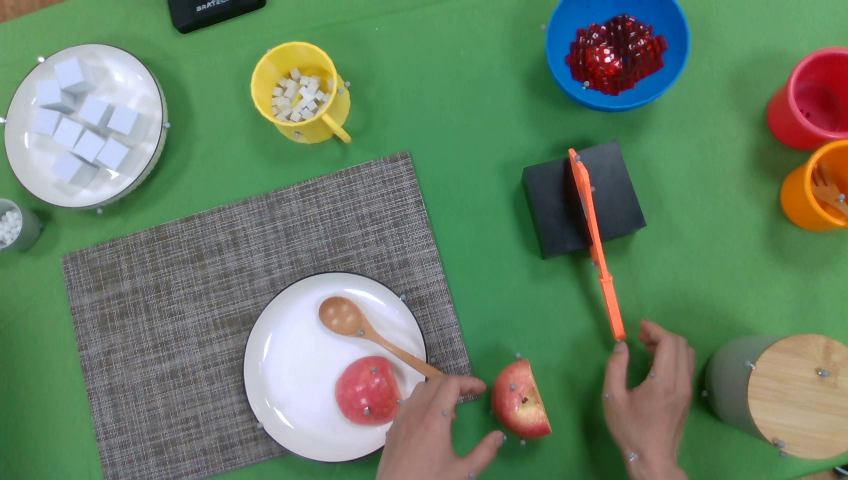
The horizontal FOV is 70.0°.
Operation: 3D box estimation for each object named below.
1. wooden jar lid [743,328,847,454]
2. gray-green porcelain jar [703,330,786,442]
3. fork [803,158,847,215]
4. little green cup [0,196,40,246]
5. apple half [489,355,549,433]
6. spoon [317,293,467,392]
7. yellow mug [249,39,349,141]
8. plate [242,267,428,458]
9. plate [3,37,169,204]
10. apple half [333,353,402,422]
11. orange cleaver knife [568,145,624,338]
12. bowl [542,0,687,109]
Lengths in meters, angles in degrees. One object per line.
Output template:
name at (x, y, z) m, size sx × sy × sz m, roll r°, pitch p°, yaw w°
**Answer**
wooden jar lid at (0.335, 0.132, 0.535) m, size 0.108 × 0.021 × 0.108 m, roll 0°, pitch 85°, yaw 5°
gray-green porcelain jar at (0.343, 0.141, 0.597) m, size 0.106 × 0.127 × 0.105 m, roll -1°, pitch 82°, yaw 6°
fork at (0.421, -0.019, 0.595) m, size 0.028 × 0.019 × 0.205 m, roll 4°, pitch 40°, yaw 1°
little green cup at (-0.507, -0.021, 0.742) m, size 0.061 × 0.039 × 0.061 m, roll 0°, pitch 84°, yaw 4°
apple half at (0.097, 0.167, 0.645) m, size 0.053 × 0.075 × 0.080 m, roll -19°, pitch 85°, yaw 7°
spoon at (-0.037, 0.115, 0.664) m, size 0.192 × 0.022 × 0.041 m, roll 28°, pitch 75°, yaw 20°
yellow mug at (-0.134, -0.164, 0.709) m, size 0.100 × 0.064 × 0.130 m, roll -45°, pitch 82°, yaw -1°
plate at (-0.099, 0.135, 0.682) m, size 0.209 × 0.038 × 0.208 m, roll -1°, pitch 84°, yaw 6°
plate at (-0.410, -0.144, 0.749) m, size 0.207 × 0.039 × 0.207 m, roll -1°, pitch 84°, yaw 6°
apple half at (-0.066, 0.166, 0.668) m, size 0.081 × 0.033 × 0.081 m, roll -1°, pitch 80°, yaw 7°
orange cleaver knife at (0.183, 0.002, 0.650) m, size 0.012 × 0.077 × 0.212 m, roll -15°, pitch 106°, yaw 8°
bowl at (0.204, -0.210, 0.675) m, size 0.151 × 0.077 × 0.151 m, roll -1°, pitch 84°, yaw 6°
